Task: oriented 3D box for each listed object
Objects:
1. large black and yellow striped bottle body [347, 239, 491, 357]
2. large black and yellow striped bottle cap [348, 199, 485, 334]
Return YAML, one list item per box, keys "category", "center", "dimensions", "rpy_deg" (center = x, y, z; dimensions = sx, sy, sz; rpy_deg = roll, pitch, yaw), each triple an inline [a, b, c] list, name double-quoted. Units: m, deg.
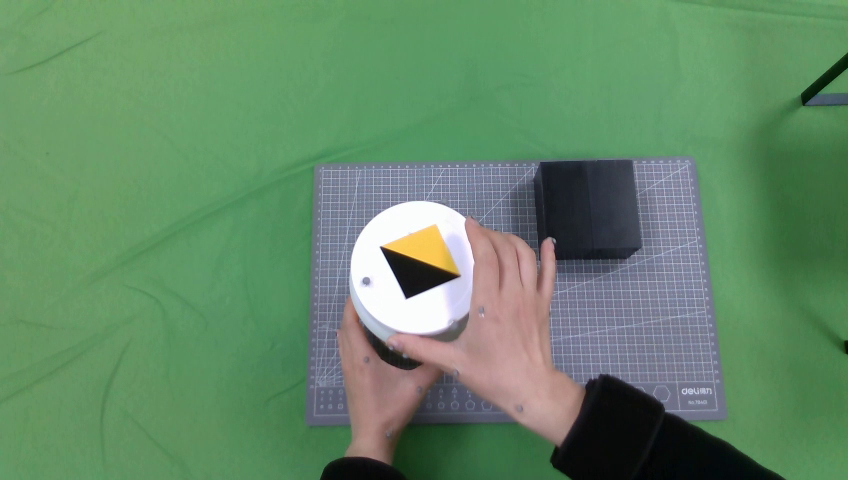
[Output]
- category: "large black and yellow striped bottle body"
  center: [-0.004, 0.043, 0.591]
  dimensions: [0.131, 0.185, 0.130]
  rpy_deg: [0, 76, 1]
- category: "large black and yellow striped bottle cap"
  center: [-0.006, 0.021, 0.506]
  dimensions: [0.115, 0.019, 0.114]
  rpy_deg: [0, 72, -1]
